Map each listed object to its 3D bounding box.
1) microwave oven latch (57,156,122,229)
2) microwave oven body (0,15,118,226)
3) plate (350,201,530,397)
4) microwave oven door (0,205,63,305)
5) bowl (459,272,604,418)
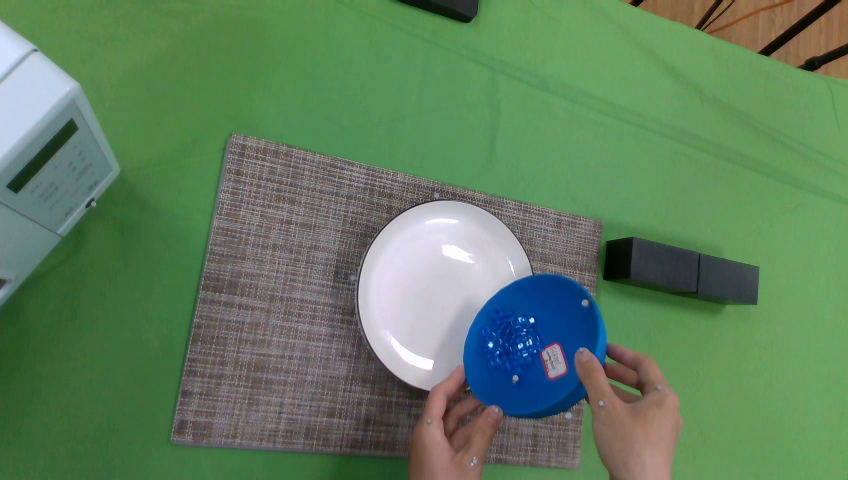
[{"bbox_3d":[-0.299,-0.048,0.526,0.030,0.029,0.079,41,73,-13],"label":"microwave oven latch"},{"bbox_3d":[-0.474,-0.009,0.351,0.328,0.259,0.440,39,73,-14],"label":"microwave oven body"},{"bbox_3d":[0.019,0.063,0.655,0.209,0.039,0.207,3,84,-21],"label":"plate"},{"bbox_3d":[-0.384,0.113,0.369,0.039,0.243,0.355,38,73,-13],"label":"microwave oven door"},{"bbox_3d":[0.119,0.116,0.610,0.077,0.150,0.151,43,70,-38],"label":"bowl"}]
